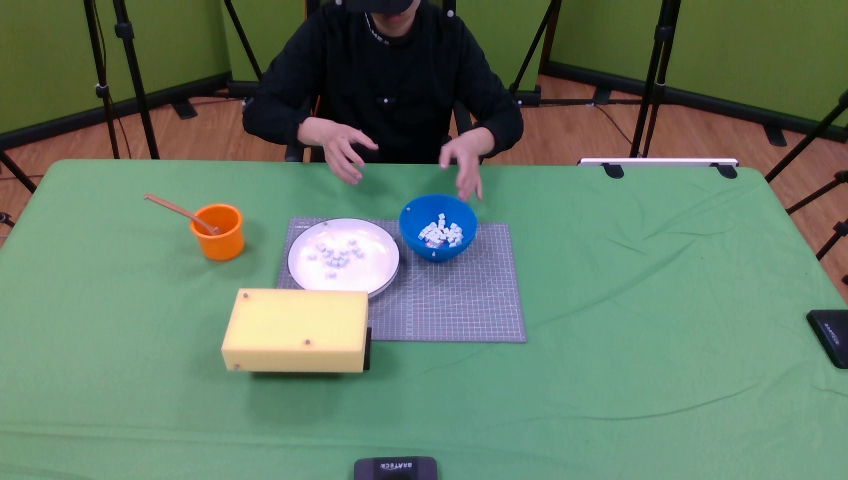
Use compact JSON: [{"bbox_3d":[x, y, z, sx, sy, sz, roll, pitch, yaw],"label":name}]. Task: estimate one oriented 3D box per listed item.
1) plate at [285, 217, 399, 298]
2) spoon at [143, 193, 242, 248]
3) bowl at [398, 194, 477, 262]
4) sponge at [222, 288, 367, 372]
[{"bbox_3d":[-0.150,0.041,1.131,0.209,0.038,0.208,2,45,-2],"label":"plate"},{"bbox_3d":[-0.421,-0.037,1.113,0.021,0.195,0.041,-36,37,23],"label":"spoon"},{"bbox_3d":[0.023,-0.011,1.167,0.151,0.077,0.150,2,46,-2],"label":"bowl"},{"bbox_3d":[-0.196,0.141,0.952,0.207,0.061,0.117,1,46,-3],"label":"sponge"}]
